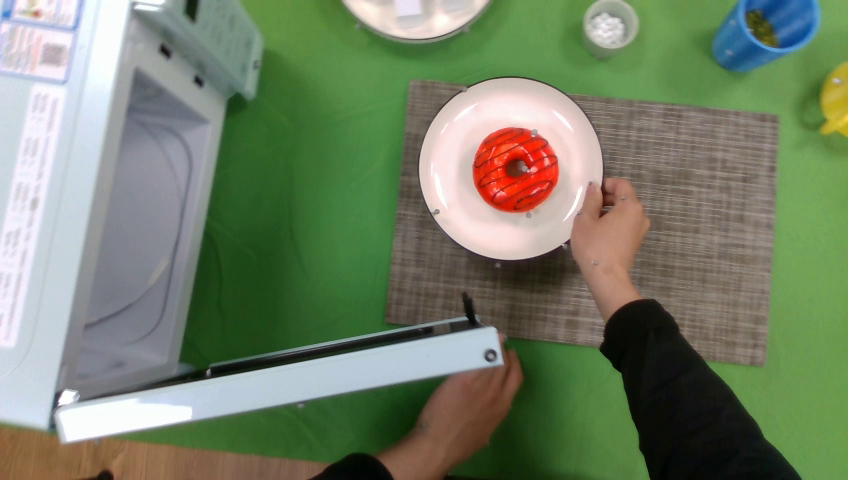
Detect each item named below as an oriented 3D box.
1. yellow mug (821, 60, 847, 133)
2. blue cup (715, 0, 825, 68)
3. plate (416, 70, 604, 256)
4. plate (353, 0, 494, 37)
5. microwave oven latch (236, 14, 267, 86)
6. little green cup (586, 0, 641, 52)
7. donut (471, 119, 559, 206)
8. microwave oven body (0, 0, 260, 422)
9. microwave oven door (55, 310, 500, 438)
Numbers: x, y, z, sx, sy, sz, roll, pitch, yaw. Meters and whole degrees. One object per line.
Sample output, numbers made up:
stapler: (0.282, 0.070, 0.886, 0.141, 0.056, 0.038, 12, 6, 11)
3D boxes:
yellow mug: (0.520, -0.167, 0.701, 0.131, 0.064, 0.100, -35, 86, 0)
blue cup: (0.384, -0.242, 0.692, 0.092, 0.100, 0.092, 0, 87, 1)
plate: (0.096, -0.086, 0.687, 0.209, 0.038, 0.209, 0, 88, 3)
plate: (0.000, -0.344, 0.737, 0.208, 0.039, 0.207, 0, 86, 1)
microwave oven latch: (-0.207, -0.225, 0.714, 0.030, 0.029, 0.079, 12, 87, 2)
little green cup: (0.224, -0.257, 0.727, 0.061, 0.039, 0.061, 0, 85, 1)
donut: (0.100, -0.086, 0.676, 0.099, 0.048, 0.099, 0, 88, 6)
microwave oven body: (-0.385, -0.084, 0.611, 0.326, 0.260, 0.441, 10, 87, 1)
microwave oven door: (-0.111, 0.119, 0.588, 0.356, 0.244, 0.039, -10, 85, 0)
